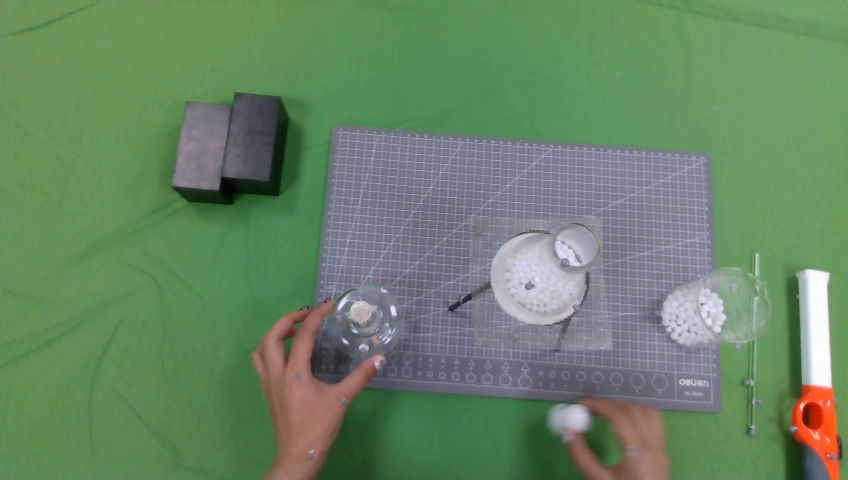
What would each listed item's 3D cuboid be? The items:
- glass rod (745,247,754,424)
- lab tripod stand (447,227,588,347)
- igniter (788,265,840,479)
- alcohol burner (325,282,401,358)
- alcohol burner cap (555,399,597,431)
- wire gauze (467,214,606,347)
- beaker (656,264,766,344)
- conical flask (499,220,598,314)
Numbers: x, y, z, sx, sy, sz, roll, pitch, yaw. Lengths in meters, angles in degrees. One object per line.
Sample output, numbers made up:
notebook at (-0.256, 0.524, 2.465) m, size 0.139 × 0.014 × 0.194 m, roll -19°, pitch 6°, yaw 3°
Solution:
glass rod at (0.365, 0.104, 0.678) m, size 0.008 × 0.008 × 0.199 m, roll 8°, pitch 76°, yaw -1°
lab tripod stand at (0.099, 0.048, 0.612) m, size 0.148 × 0.132 × 0.147 m, roll 0°, pitch 78°, yaw -1°
igniter at (0.421, 0.164, 0.656) m, size 0.057 × 0.025 × 0.275 m, roll 9°, pitch 77°, yaw -10°
alcohol burner at (-0.062, 0.077, 0.608) m, size 0.078 × 0.119 × 0.077 m, roll 1°, pitch 74°, yaw -2°
alcohol burner cap at (0.157, 0.176, 0.613) m, size 0.034 × 0.048 × 0.033 m, roll 4°, pitch 71°, yaw -12°
wire gauze at (0.102, 0.035, 0.548) m, size 0.125 × 0.011 × 0.121 m, roll 1°, pitch 79°, yaw -4°
beaker at (0.296, 0.069, 0.633) m, size 0.084 × 0.100 × 0.073 m, roll -32°, pitch 80°, yaw -10°
conical flask at (0.106, 0.017, 0.491) m, size 0.075 × 0.122 × 0.075 m, roll 0°, pitch 76°, yaw -1°
